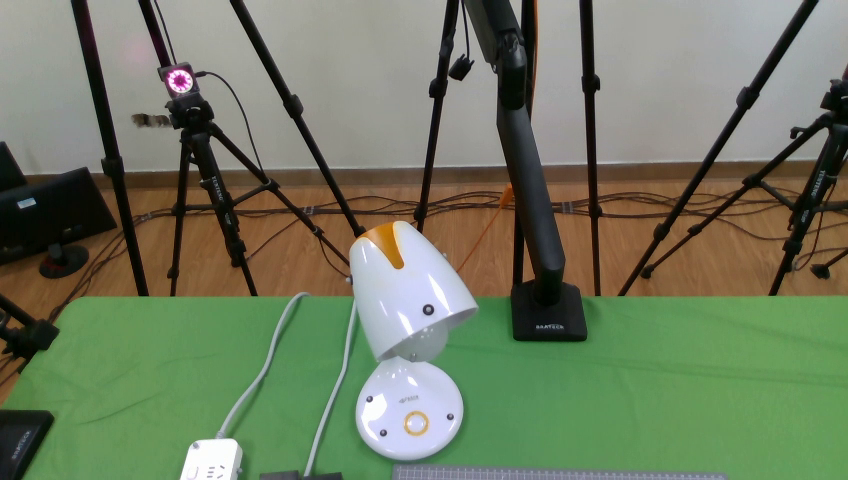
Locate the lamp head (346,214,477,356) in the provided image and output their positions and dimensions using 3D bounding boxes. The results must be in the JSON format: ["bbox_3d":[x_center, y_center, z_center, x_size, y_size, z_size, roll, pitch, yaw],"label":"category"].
[{"bbox_3d":[-0.023,0.038,0.596,0.112,0.113,0.122,-23,70,-18],"label":"lamp head"}]

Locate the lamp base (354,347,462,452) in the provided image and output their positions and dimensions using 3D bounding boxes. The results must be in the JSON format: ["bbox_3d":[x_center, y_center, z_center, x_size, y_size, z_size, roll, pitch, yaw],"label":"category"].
[{"bbox_3d":[-0.035,0.178,0.857,0.161,0.182,0.177,-20,43,-16],"label":"lamp base"}]

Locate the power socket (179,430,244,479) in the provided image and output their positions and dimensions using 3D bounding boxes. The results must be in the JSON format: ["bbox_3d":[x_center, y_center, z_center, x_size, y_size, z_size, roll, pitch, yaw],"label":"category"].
[{"bbox_3d":[-0.294,0.354,0.798,0.072,0.033,0.224,-2,43,1],"label":"power socket"}]
